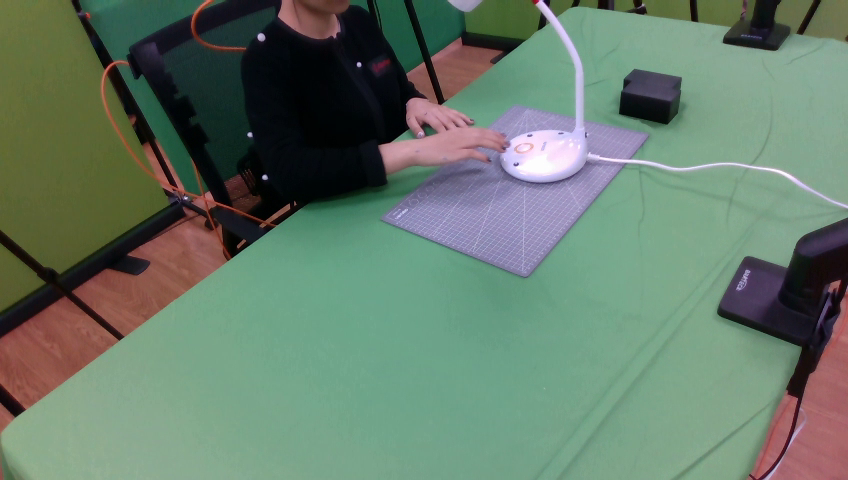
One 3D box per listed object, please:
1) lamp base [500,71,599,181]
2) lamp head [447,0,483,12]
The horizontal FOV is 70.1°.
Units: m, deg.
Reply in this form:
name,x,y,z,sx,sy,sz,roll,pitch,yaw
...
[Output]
name,x,y,z,sx,sy,sz,roll,pitch,yaw
lamp base,0.223,-0.217,1.068,0.179,0.181,0.160,2,42,10
lamp head,0.084,-0.422,0.915,0.122,0.113,0.112,-21,31,36
